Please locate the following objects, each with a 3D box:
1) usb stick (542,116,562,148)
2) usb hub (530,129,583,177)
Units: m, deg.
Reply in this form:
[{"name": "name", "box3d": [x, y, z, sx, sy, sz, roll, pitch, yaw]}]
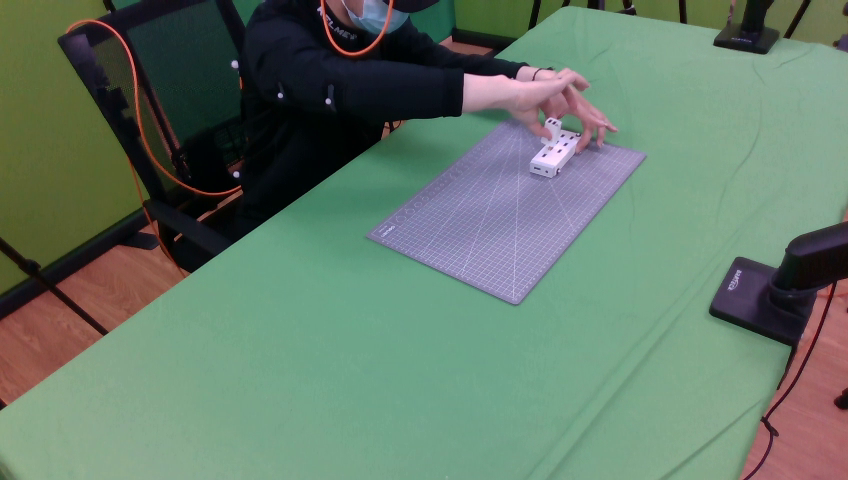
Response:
[{"name": "usb stick", "box3d": [0.230, -0.193, 1.091, 0.027, 0.059, 0.021, 29, 58, 25]}, {"name": "usb hub", "box3d": [0.246, -0.161, 1.115, 0.049, 0.025, 0.125, 22, 49, 29]}]
